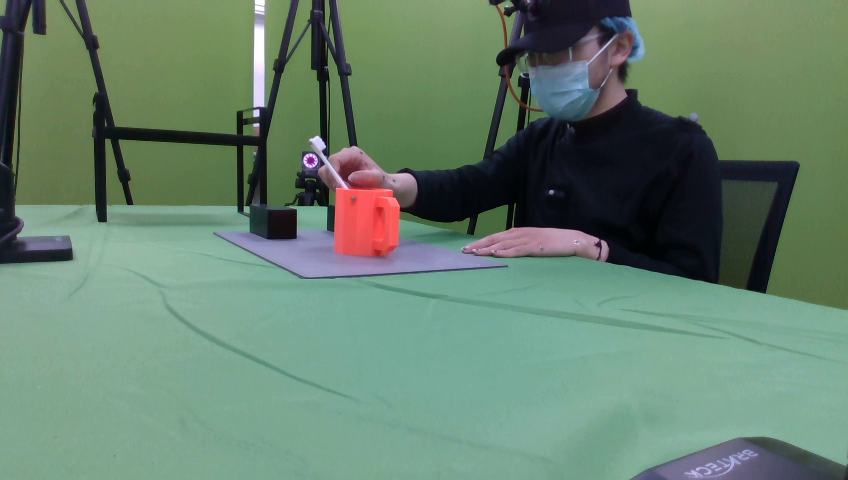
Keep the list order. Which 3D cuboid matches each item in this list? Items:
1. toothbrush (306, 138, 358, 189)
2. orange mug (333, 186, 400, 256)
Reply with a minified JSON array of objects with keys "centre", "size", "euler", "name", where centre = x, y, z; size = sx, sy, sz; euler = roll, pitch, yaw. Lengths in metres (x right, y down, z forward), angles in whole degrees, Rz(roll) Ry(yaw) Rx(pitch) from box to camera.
[{"centre":[-0.107,-0.080,0.892],"size":[0.014,0.182,0.016],"euler":[-39,12,18],"name":"toothbrush"},{"centre":[-0.080,-0.029,0.888],"size":[0.084,0.100,0.125],"euler":[-3,5,-40],"name":"orange mug"}]
